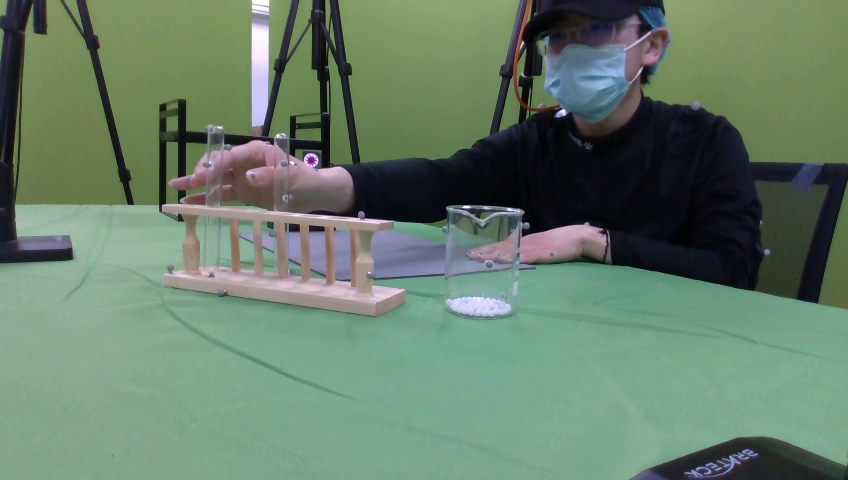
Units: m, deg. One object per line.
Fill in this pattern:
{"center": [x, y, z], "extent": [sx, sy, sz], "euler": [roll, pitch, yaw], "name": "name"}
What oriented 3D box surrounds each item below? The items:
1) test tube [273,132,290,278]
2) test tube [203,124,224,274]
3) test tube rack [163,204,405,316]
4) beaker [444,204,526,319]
{"center": [-0.146, -0.034, 0.617], "extent": [0.017, 0.150, 0.017], "euler": [2, 8, 0], "name": "test tube"}
{"center": [-0.210, -0.039, 0.603], "extent": [0.017, 0.150, 0.017], "euler": [5, 10, -1], "name": "test tube"}
{"center": [-0.141, 0.013, 0.601], "extent": [0.241, 0.085, 0.067], "euler": [5, 8, 21], "name": "test tube rack"}
{"center": [0.055, 0.019, 0.563], "extent": [0.074, 0.100, 0.084], "euler": [3, 8, 8], "name": "beaker"}
